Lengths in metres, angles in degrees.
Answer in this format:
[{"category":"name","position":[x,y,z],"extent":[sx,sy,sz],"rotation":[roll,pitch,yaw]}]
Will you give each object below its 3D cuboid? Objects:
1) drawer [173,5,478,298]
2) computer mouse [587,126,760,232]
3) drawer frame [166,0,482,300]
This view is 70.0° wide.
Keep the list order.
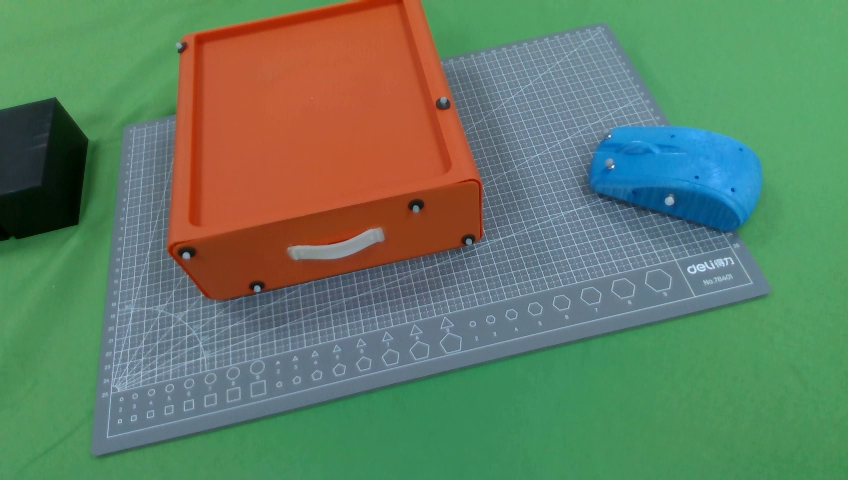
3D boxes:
[{"category":"drawer","position":[-0.077,-0.076,0.459],"extent":[0.194,0.074,0.209],"rotation":[-13,55,-2]},{"category":"computer mouse","position":[0.180,-0.051,0.440],"extent":[0.116,0.041,0.062],"rotation":[18,62,22]},{"category":"drawer frame","position":[-0.078,-0.078,0.459],"extent":[0.202,0.083,0.211],"rotation":[-13,55,-2]}]
